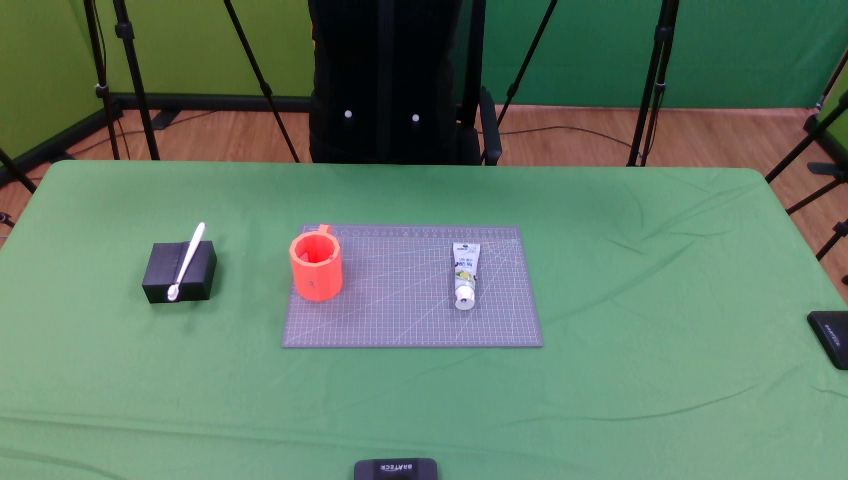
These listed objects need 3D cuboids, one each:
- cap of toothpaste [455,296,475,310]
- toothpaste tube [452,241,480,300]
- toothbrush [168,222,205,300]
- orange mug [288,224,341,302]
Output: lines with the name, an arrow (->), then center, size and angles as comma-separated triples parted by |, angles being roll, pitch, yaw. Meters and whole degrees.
cap of toothpaste -> 0.072, 0.111, 1.081 | 0.037, 0.037, 0.011 | -2, 47, -6
toothpaste tube -> 0.079, 0.058, 1.142 | 0.055, 0.034, 0.164 | 9, 42, -3
toothbrush -> -0.419, 0.032, 1.070 | 0.014, 0.017, 0.180 | 1, 46, 2
orange mug -> -0.192, 0.034, 1.094 | 0.083, 0.101, 0.125 | 7, 50, 2
